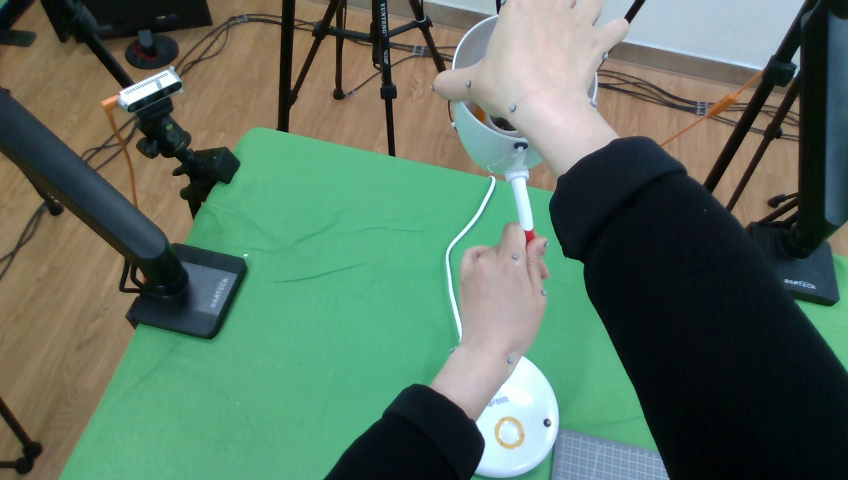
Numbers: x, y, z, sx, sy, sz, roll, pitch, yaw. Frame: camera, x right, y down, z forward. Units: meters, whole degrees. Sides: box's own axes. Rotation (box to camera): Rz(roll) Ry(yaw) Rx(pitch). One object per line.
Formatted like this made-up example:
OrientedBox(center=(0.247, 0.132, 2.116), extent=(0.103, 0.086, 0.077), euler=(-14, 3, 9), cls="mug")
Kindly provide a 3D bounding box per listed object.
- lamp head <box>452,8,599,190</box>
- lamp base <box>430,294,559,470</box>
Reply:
OrientedBox(center=(0.076, -0.106, 0.505), extent=(0.112, 0.123, 0.111), euler=(1, 67, -1), cls="lamp head")
OrientedBox(center=(0.086, 0.151, 0.690), extent=(0.161, 0.181, 0.177), euler=(-23, 60, -18), cls="lamp base")
